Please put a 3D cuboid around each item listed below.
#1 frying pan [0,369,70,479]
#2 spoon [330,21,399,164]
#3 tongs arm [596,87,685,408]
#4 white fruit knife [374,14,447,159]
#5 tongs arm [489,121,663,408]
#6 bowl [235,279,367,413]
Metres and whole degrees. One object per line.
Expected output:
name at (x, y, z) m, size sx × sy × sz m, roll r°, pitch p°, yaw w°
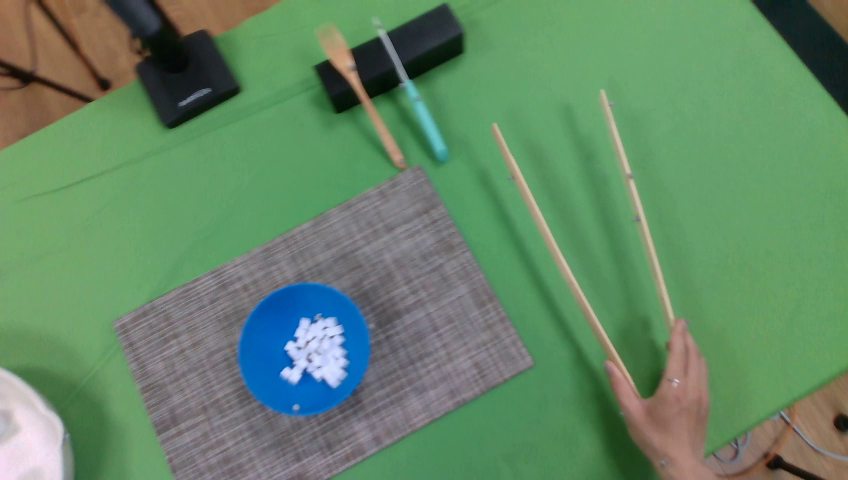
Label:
frying pan at (-0.504, 0.373, 0.668) m, size 0.307 × 0.103 × 0.483 m, roll -28°, pitch 68°, yaw -3°
spoon at (-0.075, -0.189, 0.790) m, size 0.041 × 0.021 × 0.194 m, roll -18°, pitch 96°, yaw 21°
tongs arm at (0.242, 0.000, 0.717) m, size 0.051 × 0.026 × 0.383 m, roll -14°, pitch 78°, yaw -3°
white fruit knife at (-0.020, -0.203, 0.796) m, size 0.016 × 0.027 × 0.207 m, roll -27°, pitch 90°, yaw -8°
tongs arm at (0.168, 0.024, 0.714) m, size 0.028 × 0.028 × 0.385 m, roll -25°, pitch 79°, yaw -8°
bowl at (-0.137, 0.127, 0.718) m, size 0.151 × 0.077 × 0.150 m, roll -1°, pitch 76°, yaw 3°
